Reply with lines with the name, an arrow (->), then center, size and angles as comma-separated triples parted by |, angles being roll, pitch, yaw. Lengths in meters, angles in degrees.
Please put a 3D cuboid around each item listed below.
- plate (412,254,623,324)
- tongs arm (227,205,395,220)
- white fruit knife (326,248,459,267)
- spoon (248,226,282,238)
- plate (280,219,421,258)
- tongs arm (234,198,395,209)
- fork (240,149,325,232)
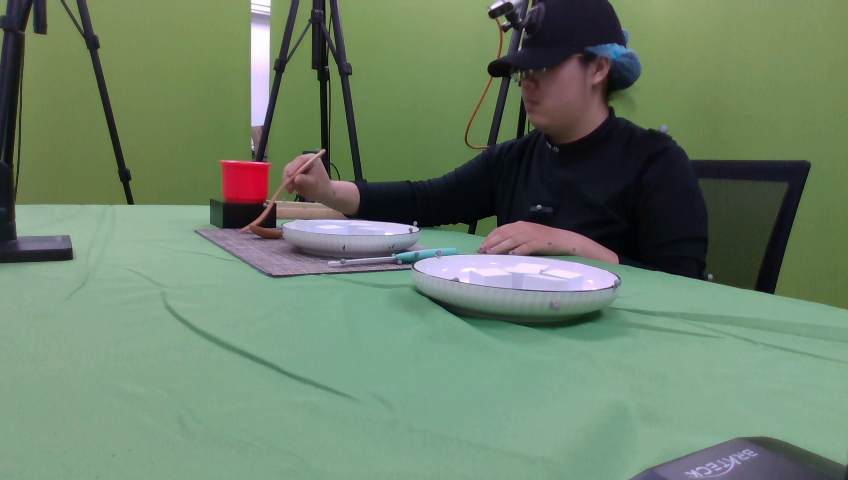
plate -> 0.090, 0.047, 0.609 | 0.209, 0.038, 0.209 | 2, 7, 0
tongs arm -> -0.247, -0.062, 1.382 | 0.389, 0.028, 0.028 | 0, 5, -21
white fruit knife -> -0.035, 0.025, 0.807 | 0.208, 0.016, 0.027 | -4, -19, -34
spoon -> -0.198, -0.015, 1.024 | 0.195, 0.021, 0.041 | -2, -10, -30
plate -> -0.108, -0.002, 0.902 | 0.208, 0.039, 0.207 | 3, 7, 0
tongs arm -> -0.263, -0.076, 1.460 | 0.386, 0.026, 0.050 | 3, 8, -8
fork -> -0.247, -0.087, 1.065 | 0.019, 0.207, 0.028 | 43, -10, -19
